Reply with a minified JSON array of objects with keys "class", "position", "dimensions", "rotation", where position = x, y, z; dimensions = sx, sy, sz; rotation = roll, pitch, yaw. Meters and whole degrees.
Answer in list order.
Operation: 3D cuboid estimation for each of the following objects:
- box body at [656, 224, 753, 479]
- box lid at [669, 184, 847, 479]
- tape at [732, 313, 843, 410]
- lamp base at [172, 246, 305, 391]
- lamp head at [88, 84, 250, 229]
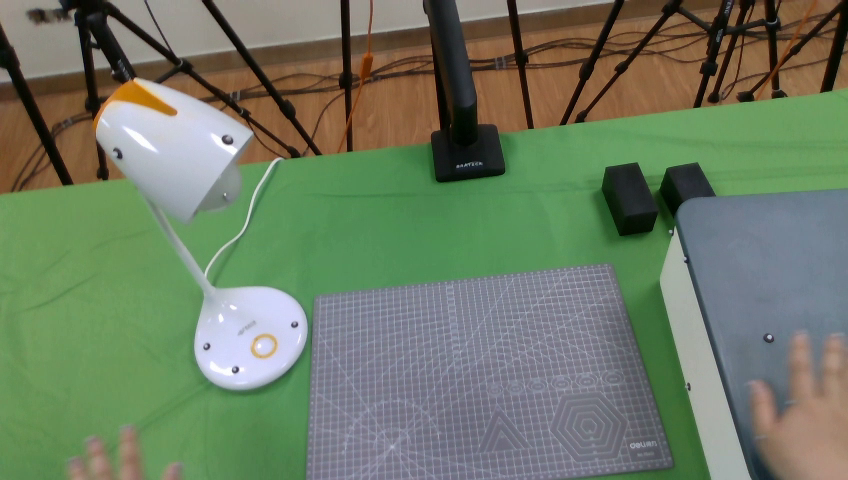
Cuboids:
[{"class":"box body","position":[0.445,0.130,0.718],"dimensions":[0.254,0.162,0.360],"rotation":[-4,54,4]},{"class":"box lid","position":[0.438,0.085,0.660],"dimensions":[0.263,0.015,0.368],"rotation":[-4,55,4]},{"class":"tape","position":[0.454,0.151,0.763],"dimensions":[0.117,0.053,0.115],"rotation":[-3,54,4]},{"class":"lamp base","position":[-0.269,0.091,0.814],"dimensions":[0.178,0.182,0.160],"rotation":[26,61,26]},{"class":"lamp head","position":[-0.246,-0.085,0.572],"dimensions":[0.123,0.112,0.112],"rotation":[32,58,-13]}]
